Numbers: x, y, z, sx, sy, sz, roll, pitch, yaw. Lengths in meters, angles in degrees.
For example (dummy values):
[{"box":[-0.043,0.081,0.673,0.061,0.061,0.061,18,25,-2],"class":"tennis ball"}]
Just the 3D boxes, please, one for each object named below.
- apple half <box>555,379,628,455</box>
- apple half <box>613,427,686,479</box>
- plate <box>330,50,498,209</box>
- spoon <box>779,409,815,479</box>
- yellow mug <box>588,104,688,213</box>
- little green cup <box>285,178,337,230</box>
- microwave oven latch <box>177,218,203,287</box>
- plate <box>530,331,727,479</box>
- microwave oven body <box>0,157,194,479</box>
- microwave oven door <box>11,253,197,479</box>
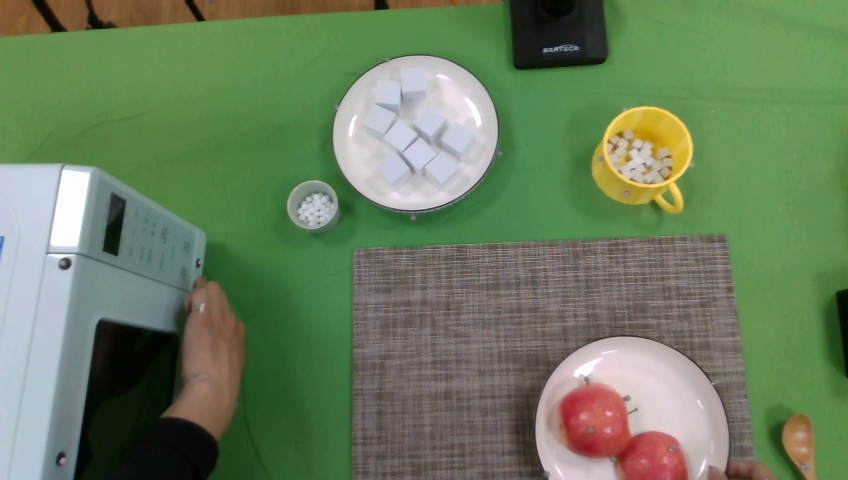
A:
[{"box":[0.182,0.192,0.657,0.074,0.053,0.080,-6,78,5],"class":"apple half"},{"box":[0.245,0.243,0.651,0.081,0.033,0.081,-1,74,5],"class":"apple half"},{"box":[-0.011,-0.136,0.759,0.207,0.039,0.206,-1,78,3],"class":"plate"},{"box":[0.419,0.280,0.651,0.042,0.021,0.192,-5,76,-19],"class":"spoon"},{"box":[0.261,-0.089,0.718,0.100,0.064,0.130,-30,78,-3],"class":"yellow mug"},{"box":[-0.136,-0.042,0.744,0.061,0.039,0.061,0,78,2],"class":"little green cup"},{"box":[-0.284,0.015,0.723,0.030,0.029,0.079,4,79,4],"class":"microwave oven latch"},{"box":[0.220,0.206,0.667,0.209,0.038,0.208,-1,78,3],"class":"plate"},{"box":[-0.444,0.164,0.601,0.326,0.261,0.439,1,78,3],"class":"microwave oven body"},{"box":[-0.300,0.207,0.579,0.039,0.245,0.354,0,77,4],"class":"microwave oven door"}]
